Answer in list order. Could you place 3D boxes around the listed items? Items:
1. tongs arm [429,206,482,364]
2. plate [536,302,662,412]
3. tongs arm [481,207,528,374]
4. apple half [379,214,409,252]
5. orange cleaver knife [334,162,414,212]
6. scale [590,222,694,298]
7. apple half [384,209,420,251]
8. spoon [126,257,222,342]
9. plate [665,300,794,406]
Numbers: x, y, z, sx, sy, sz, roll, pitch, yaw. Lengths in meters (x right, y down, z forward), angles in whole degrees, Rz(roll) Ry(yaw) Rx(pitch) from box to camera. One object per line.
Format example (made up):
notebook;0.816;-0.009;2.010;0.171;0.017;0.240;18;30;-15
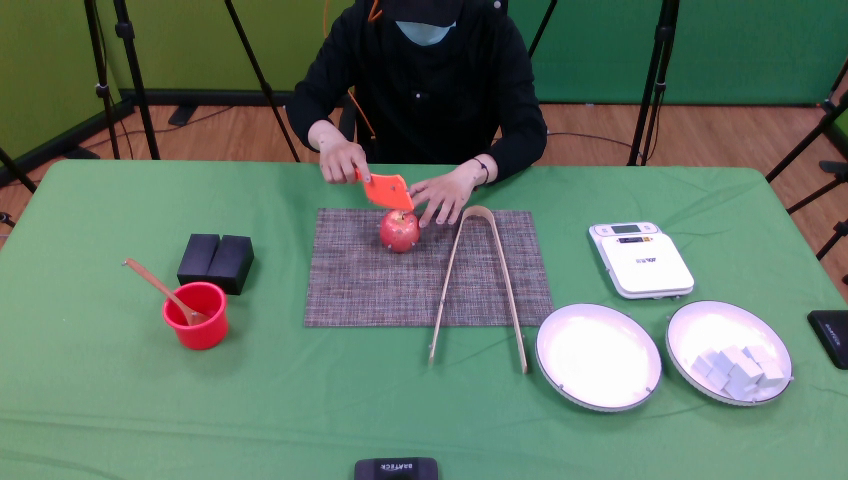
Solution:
tongs arm;0.064;0.069;1.124;0.051;0.026;0.382;8;45;5
plate;0.288;0.197;1.016;0.209;0.038;0.208;2;46;-2
tongs arm;0.149;0.077;1.124;0.028;0.028;0.385;-4;46;-2
apple half;-0.065;-0.005;1.155;0.033;0.081;0.081;-30;55;-33
orange cleaver knife;-0.095;-0.100;1.122;0.012;0.077;0.210;-34;38;-33
scale;0.424;0.031;1.189;0.149;0.032;0.199;-3;46;-7
apple half;-0.038;-0.023;1.175;0.053;0.075;0.080;-29;52;-32
spoon;-0.408;0.096;0.990;0.194;0.021;0.041;50;53;-18
plate;0.513;0.194;1.034;0.208;0.039;0.206;2;46;-2
